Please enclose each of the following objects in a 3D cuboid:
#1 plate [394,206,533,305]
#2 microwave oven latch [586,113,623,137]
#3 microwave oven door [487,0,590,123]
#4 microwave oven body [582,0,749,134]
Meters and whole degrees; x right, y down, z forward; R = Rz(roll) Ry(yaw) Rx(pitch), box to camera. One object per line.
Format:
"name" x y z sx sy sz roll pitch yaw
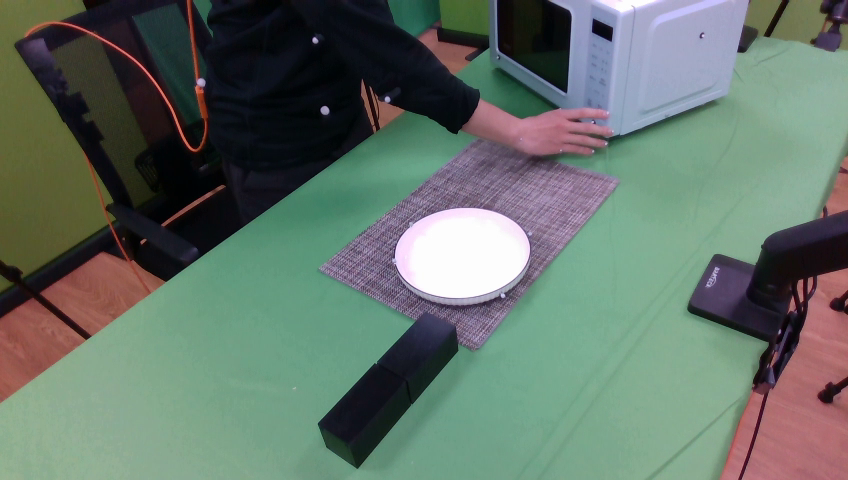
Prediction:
"plate" 0.059 0.025 0.915 0.207 0.039 0.206 -4 41 4
"microwave oven latch" 0.339 -0.222 1.142 0.030 0.029 0.078 -18 41 -11
"microwave oven door" 0.232 -0.420 1.231 0.039 0.245 0.352 -22 43 -16
"microwave oven body" 0.382 -0.444 1.246 0.327 0.261 0.437 -22 42 -16
